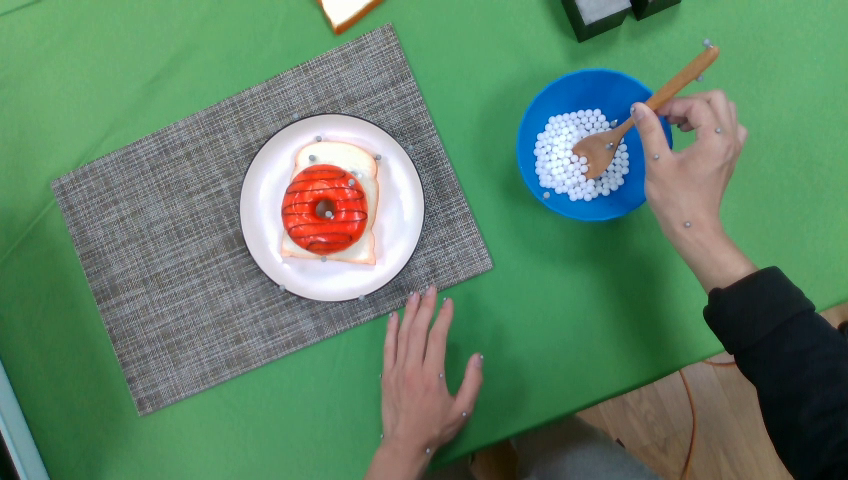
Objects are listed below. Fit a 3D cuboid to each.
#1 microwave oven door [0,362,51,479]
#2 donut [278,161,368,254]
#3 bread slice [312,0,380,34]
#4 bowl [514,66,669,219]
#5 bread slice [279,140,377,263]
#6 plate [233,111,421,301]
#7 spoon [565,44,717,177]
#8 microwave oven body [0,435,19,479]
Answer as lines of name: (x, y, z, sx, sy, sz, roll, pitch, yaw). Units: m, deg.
microwave oven door: (-0.511, 0.180, 0.596, 0.039, 0.244, 0.355, -25, 87, 5)
donut: (-0.107, -0.035, 0.645, 0.099, 0.048, 0.099, 0, 90, 7)
bread slice: (-0.100, -0.316, 0.689, 0.105, 0.019, 0.131, -37, 87, 3)
bowl: (0.167, -0.094, 0.629, 0.151, 0.077, 0.151, 0, 89, 6)
bread slice: (-0.105, -0.043, 0.674, 0.107, 0.018, 0.134, 2, 90, 5)
plate: (-0.105, -0.036, 0.673, 0.207, 0.039, 0.207, 0, 90, 6)
spoon: (0.193, -0.114, 0.561, 0.021, 0.194, 0.041, -29, 82, -29)
microwave oven body: (-0.661, 0.204, 0.616, 0.326, 0.260, 0.441, -25, 87, 4)
